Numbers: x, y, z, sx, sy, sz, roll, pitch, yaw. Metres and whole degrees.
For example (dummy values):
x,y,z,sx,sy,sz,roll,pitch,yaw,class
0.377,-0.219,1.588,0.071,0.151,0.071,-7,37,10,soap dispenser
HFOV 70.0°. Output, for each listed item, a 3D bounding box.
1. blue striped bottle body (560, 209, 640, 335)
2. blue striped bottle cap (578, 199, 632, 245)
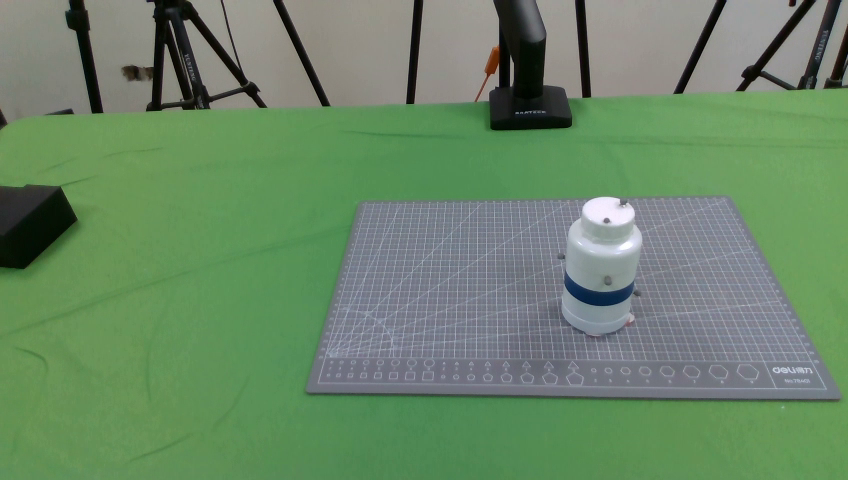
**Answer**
x,y,z,sx,sy,sz,roll,pitch,yaw,class
0.159,0.024,0.550,0.063,0.122,0.062,-3,38,2,blue striped bottle body
0.155,-0.016,0.519,0.044,0.021,0.044,-2,38,2,blue striped bottle cap
